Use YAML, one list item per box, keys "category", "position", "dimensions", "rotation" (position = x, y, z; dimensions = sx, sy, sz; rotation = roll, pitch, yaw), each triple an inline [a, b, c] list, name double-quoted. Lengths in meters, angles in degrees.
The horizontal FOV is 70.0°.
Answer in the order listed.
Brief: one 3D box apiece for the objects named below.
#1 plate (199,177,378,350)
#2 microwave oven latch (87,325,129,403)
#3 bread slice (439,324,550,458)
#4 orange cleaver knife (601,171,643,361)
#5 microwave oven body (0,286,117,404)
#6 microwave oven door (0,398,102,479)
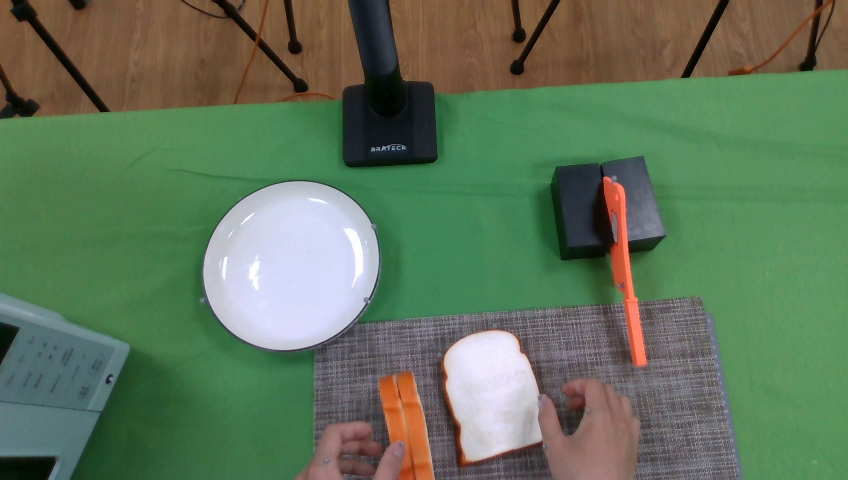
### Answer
- category: "plate"
  position: [-0.155, 0.028, 0.714]
  dimensions: [0.207, 0.039, 0.206]
  rotation: [-1, 72, 2]
- category: "microwave oven latch"
  position: [-0.357, 0.137, 0.669]
  dimensions: [0.030, 0.029, 0.079]
  rotation: [19, 75, 8]
- category: "bread slice"
  position: [0.075, 0.162, 0.670]
  dimensions: [0.107, 0.018, 0.134]
  rotation: [-11, 81, -6]
- category: "orange cleaver knife"
  position: [0.218, 0.026, 0.674]
  dimensions: [0.012, 0.077, 0.211]
  rotation: [-8, 93, 3]
- category: "microwave oven body"
  position: [-0.558, 0.225, 0.548]
  dimensions: [0.325, 0.261, 0.440]
  rotation: [17, 74, 7]
- category: "microwave oven door"
  position: [-0.433, 0.303, 0.512]
  dimensions: [0.039, 0.245, 0.354]
  rotation: [16, 74, 9]
